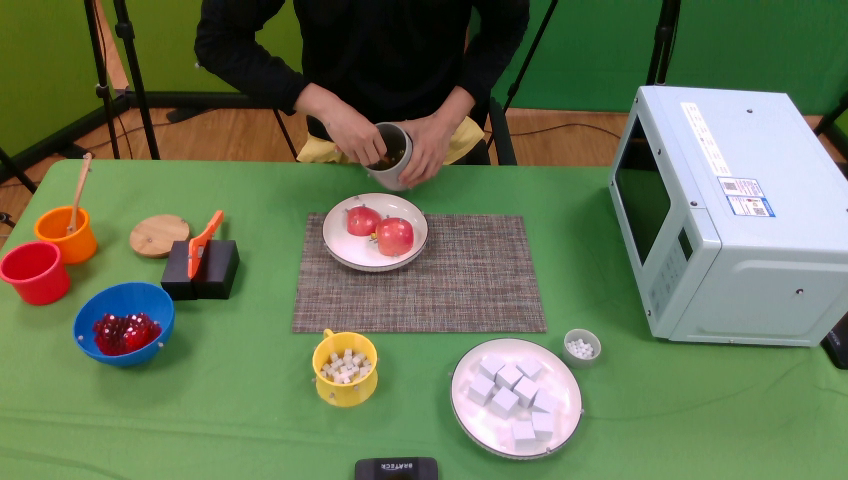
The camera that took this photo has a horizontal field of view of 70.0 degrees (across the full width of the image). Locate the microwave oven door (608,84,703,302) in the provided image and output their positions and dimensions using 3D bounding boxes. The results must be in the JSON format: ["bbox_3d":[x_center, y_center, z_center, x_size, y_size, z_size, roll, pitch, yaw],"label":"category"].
[{"bbox_3d":[0.424,-0.096,1.138,0.039,0.245,0.353,2,46,-1],"label":"microwave oven door"}]

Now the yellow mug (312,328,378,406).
[{"bbox_3d":[-0.132,0.193,0.971,0.100,0.064,0.130,-22,51,-22],"label":"yellow mug"}]

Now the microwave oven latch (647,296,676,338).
[{"bbox_3d":[0.413,0.133,1.060,0.030,0.029,0.078,4,46,2],"label":"microwave oven latch"}]

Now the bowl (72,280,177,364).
[{"bbox_3d":[-0.472,0.147,0.982,0.151,0.077,0.150,2,46,-2],"label":"bowl"}]

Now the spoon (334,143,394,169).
[{"bbox_3d":[-0.105,-0.155,1.175,0.021,0.195,0.041,-5,75,32],"label":"spoon"}]

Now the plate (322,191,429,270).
[{"bbox_3d":[-0.093,-0.015,1.185,0.209,0.038,0.208,2,46,-2],"label":"plate"}]

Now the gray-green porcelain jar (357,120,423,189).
[{"bbox_3d":[-0.063,-0.165,1.206,0.106,0.127,0.105,-4,75,15],"label":"gray-green porcelain jar"}]

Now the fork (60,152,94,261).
[{"bbox_3d":[-0.638,-0.063,1.119,0.028,0.018,0.207,12,90,8],"label":"fork"}]

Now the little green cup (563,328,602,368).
[{"bbox_3d":[0.265,0.184,1.025,0.061,0.039,0.061,2,45,-1],"label":"little green cup"}]

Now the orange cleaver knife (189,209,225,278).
[{"bbox_3d":[-0.401,0.002,1.122,0.012,0.077,0.210,3,22,-4],"label":"orange cleaver knife"}]

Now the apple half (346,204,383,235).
[{"bbox_3d":[-0.119,-0.049,1.207,0.081,0.033,0.081,2,50,-2],"label":"apple half"}]

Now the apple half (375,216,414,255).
[{"bbox_3d":[-0.056,-0.017,1.169,0.075,0.053,0.080,0,46,-7],"label":"apple half"}]

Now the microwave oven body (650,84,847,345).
[{"bbox_3d":[0.569,-0.054,1.116,0.326,0.261,0.439,2,46,-1],"label":"microwave oven body"}]

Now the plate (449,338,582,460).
[{"bbox_3d":[0.141,0.251,0.956,0.208,0.039,0.206,2,46,-2],"label":"plate"}]

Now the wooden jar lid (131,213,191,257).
[{"bbox_3d":[-0.504,-0.008,1.167,0.108,0.021,0.107,3,46,-3],"label":"wooden jar lid"}]
